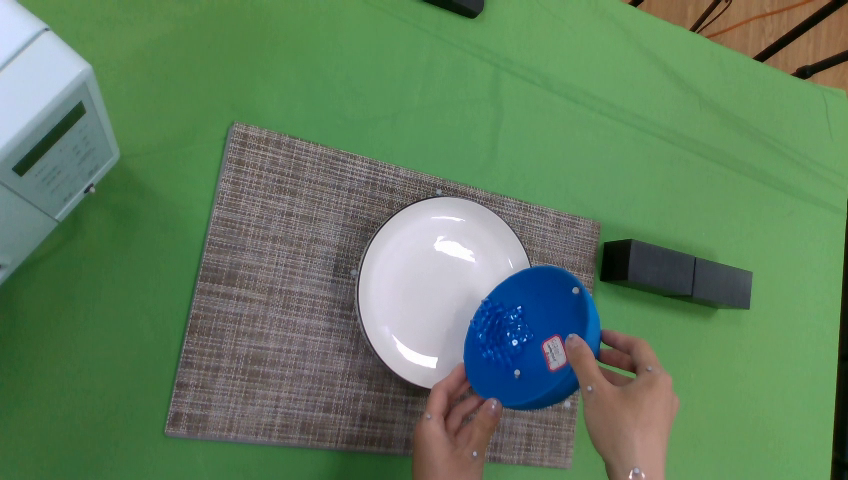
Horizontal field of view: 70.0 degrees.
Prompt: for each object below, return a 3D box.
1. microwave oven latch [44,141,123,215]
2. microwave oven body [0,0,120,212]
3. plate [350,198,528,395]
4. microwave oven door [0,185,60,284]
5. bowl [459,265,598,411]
[{"bbox_3d":[-0.292,-0.060,0.514,0.030,0.029,0.079,43,72,-15],"label":"microwave oven latch"},{"bbox_3d":[-0.464,-0.025,0.333,0.328,0.259,0.440,41,72,-15],"label":"microwave oven body"},{"bbox_3d":[0.018,0.060,0.652,0.209,0.039,0.207,2,85,-23],"label":"plate"},{"bbox_3d":[-0.378,0.100,0.355,0.039,0.243,0.355,40,72,-14],"label":"microwave oven door"},{"bbox_3d":[0.118,0.109,0.610,0.077,0.150,0.151,38,72,-33],"label":"bowl"}]
